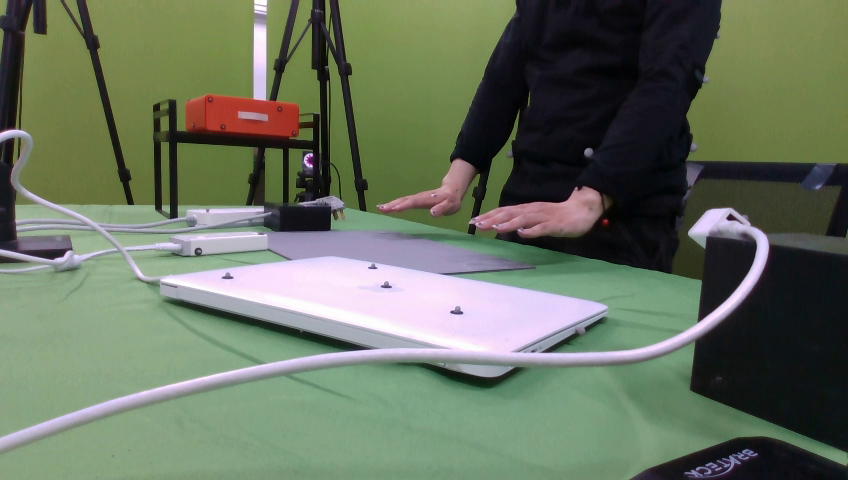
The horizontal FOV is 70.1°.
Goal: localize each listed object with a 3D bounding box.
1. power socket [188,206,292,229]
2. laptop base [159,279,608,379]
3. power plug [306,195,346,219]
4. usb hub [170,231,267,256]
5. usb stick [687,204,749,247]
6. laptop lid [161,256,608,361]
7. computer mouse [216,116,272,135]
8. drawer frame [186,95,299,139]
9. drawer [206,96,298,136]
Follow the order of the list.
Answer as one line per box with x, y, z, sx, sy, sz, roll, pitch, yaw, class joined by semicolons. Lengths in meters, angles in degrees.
-0.363;-0.048;1.209;0.072;0.032;0.228;7;9;36;power socket
-0.038;0.058;0.555;0.352;0.023;0.237;7;7;33;laptop base
-0.192;-0.061;1.199;0.073;0.052;0.035;-18;-6;-9;power plug
-0.290;0.004;0.862;0.049;0.025;0.126;10;11;42;usb hub
0.214;-0.010;0.448;0.021;0.027;0.059;39;2;6;usb stick
-0.037;0.046;0.556;0.355;0.013;0.243;8;8;35;laptop lid
-0.402;-0.257;1.353;0.118;0.041;0.062;-5;14;-35;computer mouse
-0.417;-0.277;1.378;0.203;0.082;0.212;-3;8;-32;drawer frame
-0.414;-0.276;1.376;0.195;0.073;0.210;-3;9;-31;drawer
